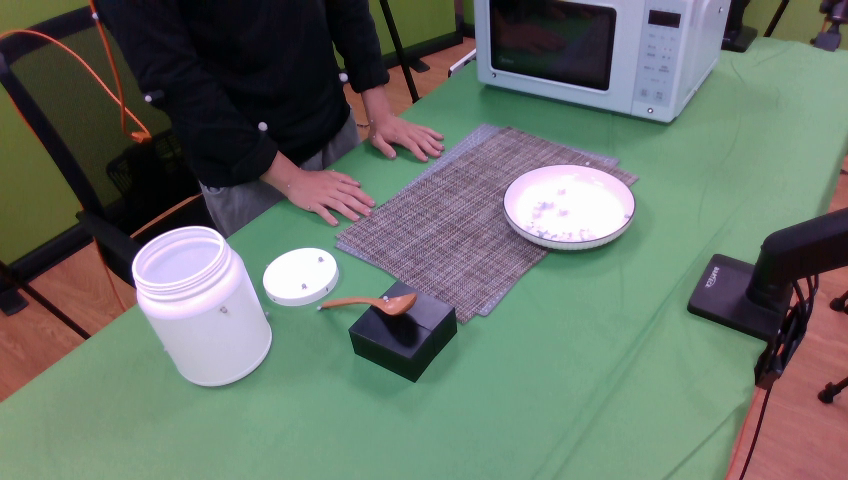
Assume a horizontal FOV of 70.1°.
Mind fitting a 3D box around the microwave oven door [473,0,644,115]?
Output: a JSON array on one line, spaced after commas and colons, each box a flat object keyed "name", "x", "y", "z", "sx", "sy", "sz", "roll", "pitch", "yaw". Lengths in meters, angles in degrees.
[{"name": "microwave oven door", "x": 0.257, "y": -0.396, "z": 1.199, "sx": 0.353, "sy": 0.245, "sz": 0.039, "roll": 21, "pitch": 48, "yaw": 29}]

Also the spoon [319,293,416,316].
[{"name": "spoon", "x": -0.082, "y": 0.086, "z": 0.826, "sx": 0.192, "sy": 0.022, "sz": 0.041, "roll": -3, "pitch": 36, "yaw": 41}]

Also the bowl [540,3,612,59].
[{"name": "bowl", "x": 0.323, "y": -0.441, "z": 1.298, "sx": 0.151, "sy": 0.077, "sz": 0.150, "roll": -4, "pitch": 41, "yaw": 4}]

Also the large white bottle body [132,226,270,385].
[{"name": "large white bottle body", "x": -0.286, "y": 0.085, "z": 0.784, "sx": 0.130, "sy": 0.185, "sz": 0.130, "roll": -4, "pitch": 41, "yaw": 4}]

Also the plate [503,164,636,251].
[{"name": "plate", "x": 0.232, "y": -0.050, "z": 0.976, "sx": 0.209, "sy": 0.038, "sz": 0.208, "roll": -3, "pitch": 41, "yaw": 3}]

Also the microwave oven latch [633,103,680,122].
[{"name": "microwave oven latch", "x": 0.444, "y": -0.249, "z": 1.157, "sx": 0.078, "sy": 0.029, "sz": 0.030, "roll": 21, "pitch": 48, "yaw": 30}]

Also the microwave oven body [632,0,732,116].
[{"name": "microwave oven body", "x": 0.377, "y": -0.462, "z": 1.267, "sx": 0.438, "sy": 0.261, "sz": 0.327, "roll": 21, "pitch": 48, "yaw": 30}]

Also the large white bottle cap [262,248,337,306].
[{"name": "large white bottle cap", "x": -0.192, "y": 0.056, "z": 0.934, "sx": 0.115, "sy": 0.018, "sz": 0.114, "roll": -4, "pitch": 41, "yaw": 4}]
